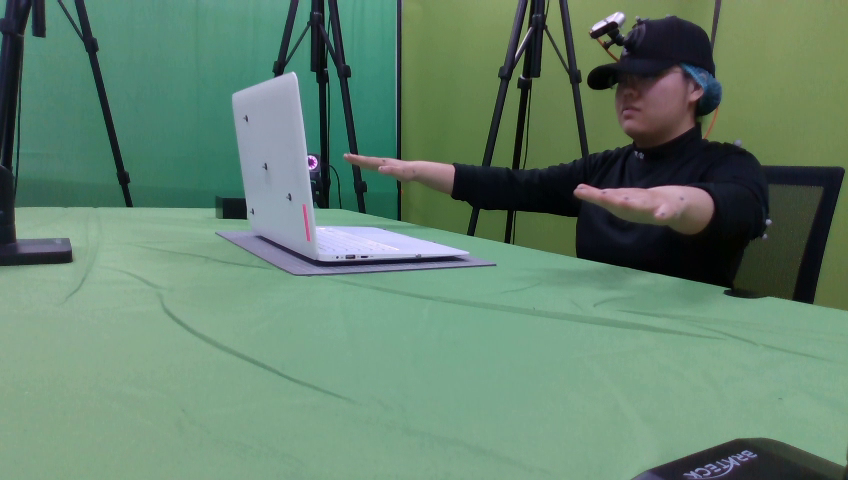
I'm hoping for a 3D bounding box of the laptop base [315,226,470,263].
[{"bbox_3d":[-0.117,0.005,0.970,0.237,0.023,0.352,2,6,-30],"label":"laptop base"}]

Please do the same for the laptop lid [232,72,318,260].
[{"bbox_3d":[-0.229,-0.109,0.888,0.013,0.241,0.355,-10,14,-28],"label":"laptop lid"}]
